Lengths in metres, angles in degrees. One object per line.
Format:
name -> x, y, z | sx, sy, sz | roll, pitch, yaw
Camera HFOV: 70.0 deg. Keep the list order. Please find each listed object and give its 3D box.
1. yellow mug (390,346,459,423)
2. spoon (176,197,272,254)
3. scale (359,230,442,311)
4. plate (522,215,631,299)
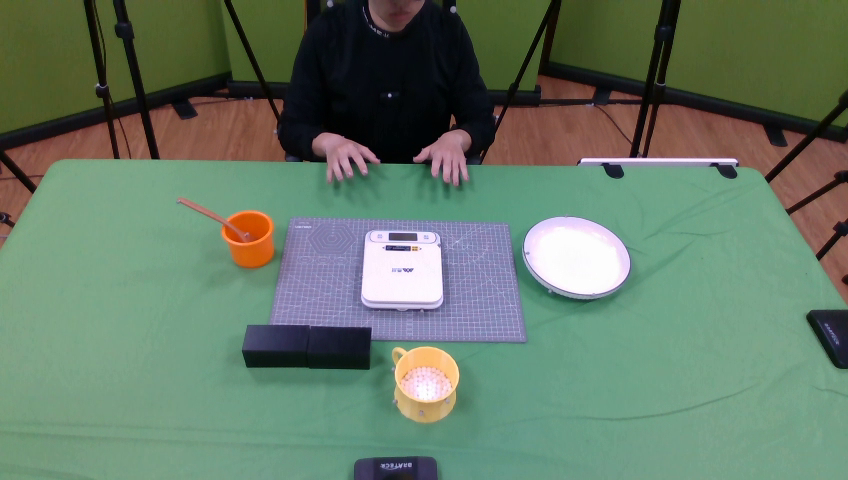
yellow mug -> -0.009, 0.217, 0.958 | 0.100, 0.064, 0.130 | -33, 56, -31
spoon -> -0.362, -0.028, 1.108 | 0.021, 0.195, 0.041 | -35, 36, 24
scale -> -0.043, 0.048, 1.138 | 0.149, 0.032, 0.199 | 2, 46, -3
plate -> 0.292, 0.035, 1.175 | 0.209, 0.038, 0.208 | 2, 46, -2
